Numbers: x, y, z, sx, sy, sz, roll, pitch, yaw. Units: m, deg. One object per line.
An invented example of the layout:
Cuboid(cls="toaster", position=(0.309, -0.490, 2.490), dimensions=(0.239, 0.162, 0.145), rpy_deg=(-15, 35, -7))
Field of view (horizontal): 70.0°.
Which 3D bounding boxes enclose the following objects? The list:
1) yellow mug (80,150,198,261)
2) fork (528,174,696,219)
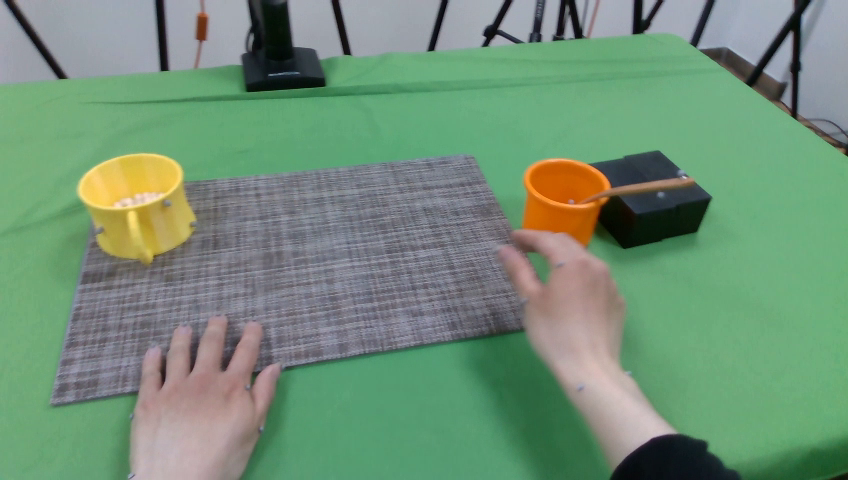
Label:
Cuboid(cls="yellow mug", position=(-0.291, -0.032, 0.626), dimensions=(0.100, 0.064, 0.129), rpy_deg=(-12, 44, -17))
Cuboid(cls="fork", position=(0.181, -0.043, 0.615), dimensions=(0.028, 0.018, 0.206), rpy_deg=(-31, 8, -31))
